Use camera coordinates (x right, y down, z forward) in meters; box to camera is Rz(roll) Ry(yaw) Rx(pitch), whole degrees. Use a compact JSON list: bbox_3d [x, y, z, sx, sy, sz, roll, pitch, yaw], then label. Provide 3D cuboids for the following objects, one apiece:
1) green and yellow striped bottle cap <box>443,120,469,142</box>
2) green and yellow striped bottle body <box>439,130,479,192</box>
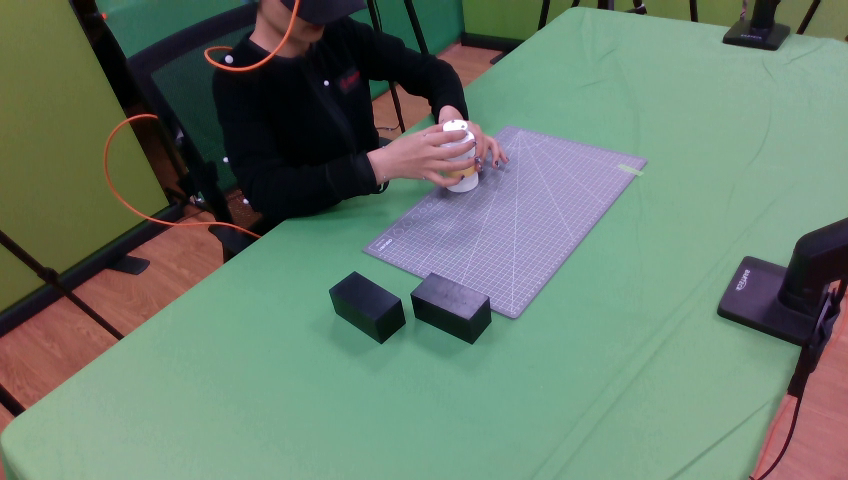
[{"bbox_3d":[0.054,-0.187,1.032,0.045,0.020,0.045,-5,39,4],"label":"green and yellow striped bottle cap"},{"bbox_3d":[0.062,-0.149,1.066,0.063,0.120,0.063,-5,40,5],"label":"green and yellow striped bottle body"}]
